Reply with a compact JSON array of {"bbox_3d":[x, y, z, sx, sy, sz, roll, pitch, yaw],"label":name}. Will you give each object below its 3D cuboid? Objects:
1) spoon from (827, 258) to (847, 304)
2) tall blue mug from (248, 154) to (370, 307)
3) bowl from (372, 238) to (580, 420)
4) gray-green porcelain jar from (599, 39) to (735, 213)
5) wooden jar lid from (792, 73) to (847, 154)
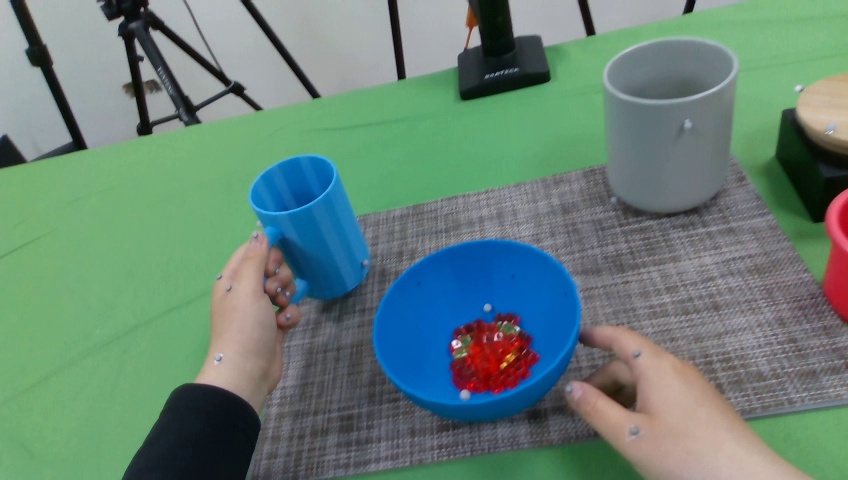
[{"bbox_3d":[0.356,-0.026,0.404,0.022,0.194,0.041,22,30,-22],"label":"spoon"},{"bbox_3d":[-0.100,0.001,0.529,0.078,0.109,0.106,-8,44,8],"label":"tall blue mug"},{"bbox_3d":[0.043,0.077,0.453,0.151,0.077,0.150,-10,41,10],"label":"bowl"},{"bbox_3d":[0.214,-0.096,0.542,0.106,0.128,0.105,-10,42,10],"label":"gray-green porcelain jar"},{"bbox_3d":[0.368,-0.105,0.504,0.108,0.021,0.107,-11,41,10],"label":"wooden jar lid"}]
